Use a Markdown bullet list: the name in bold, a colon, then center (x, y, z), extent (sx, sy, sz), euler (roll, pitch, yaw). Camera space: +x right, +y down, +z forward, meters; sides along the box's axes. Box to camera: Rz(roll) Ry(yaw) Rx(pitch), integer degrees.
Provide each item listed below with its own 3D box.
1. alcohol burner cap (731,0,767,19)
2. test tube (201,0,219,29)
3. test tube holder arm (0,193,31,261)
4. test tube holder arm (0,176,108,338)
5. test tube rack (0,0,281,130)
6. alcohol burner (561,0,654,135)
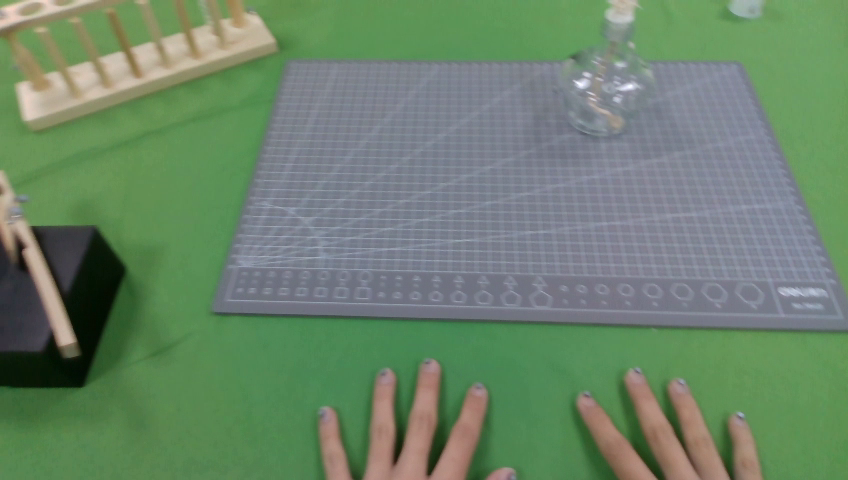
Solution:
- **alcohol burner cap**: center (0.347, -0.260, 0.635), extent (0.034, 0.048, 0.033), euler (-2, 52, 3)
- **test tube**: center (-0.218, -0.270, 0.571), extent (0.017, 0.151, 0.017), euler (-3, 49, 3)
- **test tube holder arm**: center (-0.289, -0.017, 0.422), extent (0.010, 0.015, 0.087), euler (-36, 58, -20)
- **test tube holder arm**: center (-0.254, 0.005, 0.402), extent (0.013, 0.015, 0.177), euler (-39, 59, -23)
- **test tube rack**: center (-0.270, -0.197, 0.579), extent (0.242, 0.086, 0.066), euler (-24, 55, -16)
- **alcohol burner**: center (0.156, -0.148, 0.505), extent (0.078, 0.120, 0.077), euler (-1, 50, 1)
